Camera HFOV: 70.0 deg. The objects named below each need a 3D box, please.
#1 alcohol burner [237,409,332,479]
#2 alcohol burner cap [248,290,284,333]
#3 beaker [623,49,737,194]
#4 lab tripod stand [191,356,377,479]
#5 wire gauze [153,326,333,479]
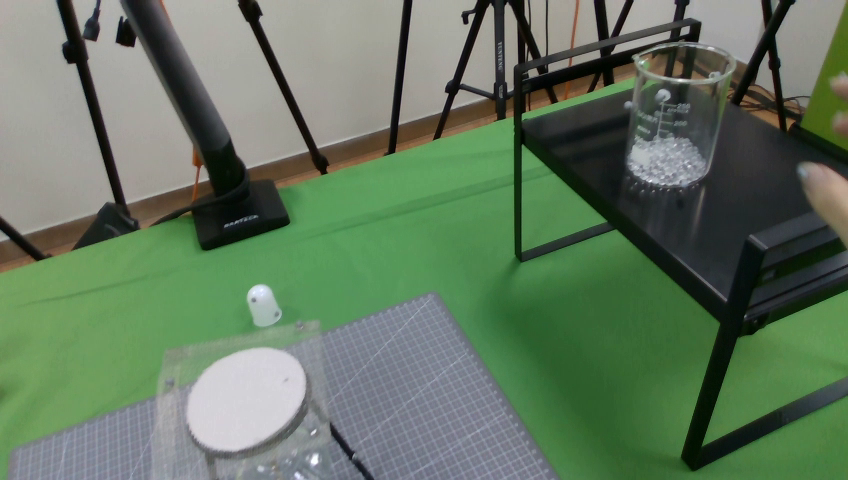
[{"bbox_3d":[-0.116,0.177,0.486,0.078,0.120,0.077,-6,37,5],"label":"alcohol burner"},{"bbox_3d":[-0.180,0.078,0.683,0.034,0.048,0.033,-5,40,4],"label":"alcohol burner cap"},{"bbox_3d":[0.204,-0.097,0.503,0.074,0.101,0.083,-33,45,-29],"label":"beaker"},{"bbox_3d":[-0.118,0.171,0.478,0.148,0.133,0.147,-4,41,3],"label":"lab tripod stand"},{"bbox_3d":[-0.131,0.116,0.439,0.121,0.011,0.123,-12,41,-7],"label":"wire gauze"}]
